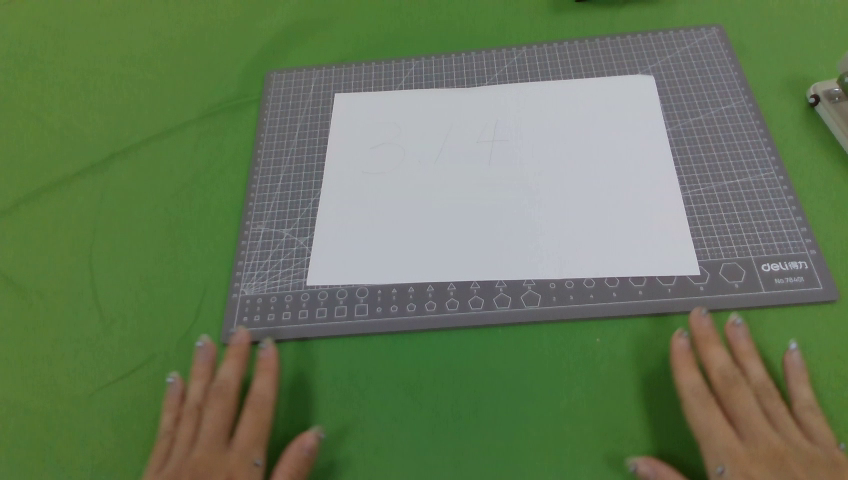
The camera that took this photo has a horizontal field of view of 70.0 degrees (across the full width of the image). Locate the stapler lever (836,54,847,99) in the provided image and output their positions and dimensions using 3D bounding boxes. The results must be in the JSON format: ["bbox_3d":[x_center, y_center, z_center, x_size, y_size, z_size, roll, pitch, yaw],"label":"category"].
[{"bbox_3d":[0.357,-0.099,0.465,0.027,0.040,0.117,-13,59,3],"label":"stapler lever"}]

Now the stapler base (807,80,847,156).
[{"bbox_3d":[0.360,-0.087,0.487,0.041,0.024,0.129,-13,59,3],"label":"stapler base"}]
